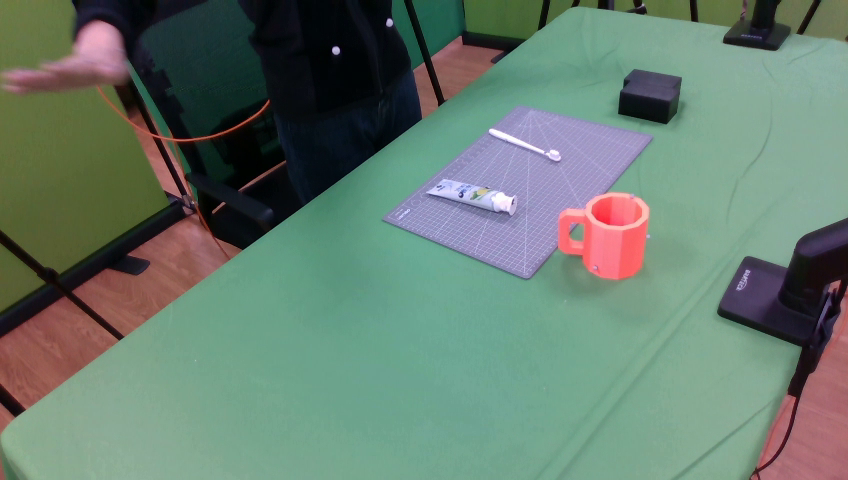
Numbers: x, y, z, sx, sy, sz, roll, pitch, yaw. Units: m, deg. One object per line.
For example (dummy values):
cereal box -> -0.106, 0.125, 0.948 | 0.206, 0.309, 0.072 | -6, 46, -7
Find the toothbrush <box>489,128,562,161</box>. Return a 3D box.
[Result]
toothbrush -> 0.191, -0.188, 1.167 | 0.014, 0.017, 0.180 | -45, 49, -16

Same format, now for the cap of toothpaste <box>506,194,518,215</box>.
cap of toothpaste -> 0.146, -0.060, 1.007 | 0.011, 0.037, 0.037 | 14, 46, 22

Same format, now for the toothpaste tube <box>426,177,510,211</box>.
toothpaste tube -> 0.083, -0.081, 1.054 | 0.164, 0.034, 0.055 | 18, 40, 34

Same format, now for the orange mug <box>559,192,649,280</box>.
orange mug -> 0.261, -0.008, 0.884 | 0.126, 0.101, 0.083 | 9, 43, 14
